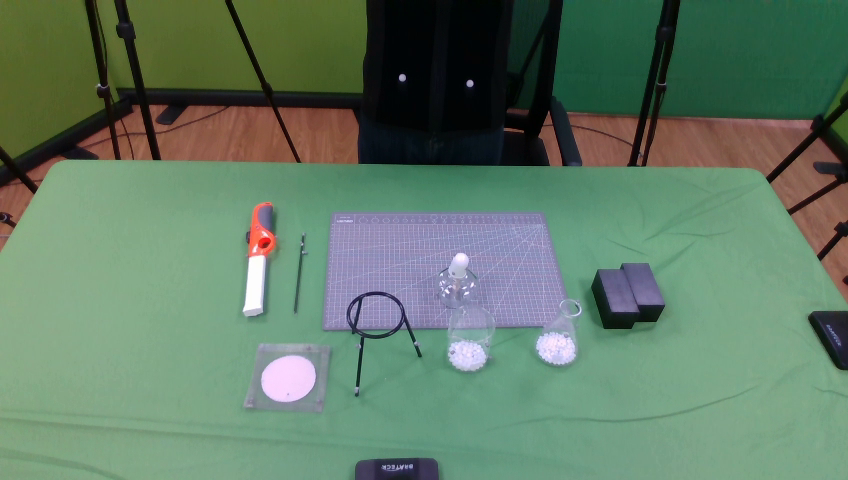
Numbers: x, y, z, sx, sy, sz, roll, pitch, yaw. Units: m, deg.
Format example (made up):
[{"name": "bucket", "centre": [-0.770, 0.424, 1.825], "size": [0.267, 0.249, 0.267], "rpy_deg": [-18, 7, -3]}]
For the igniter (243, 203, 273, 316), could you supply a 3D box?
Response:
[{"name": "igniter", "centre": [-0.315, 0.027, 1.145], "size": [0.057, 0.025, 0.274], "rpy_deg": [-10, 47, 0]}]

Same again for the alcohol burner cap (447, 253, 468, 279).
[{"name": "alcohol burner cap", "centre": [0.060, 0.043, 1.046], "size": [0.034, 0.048, 0.033], "rpy_deg": [5, 50, -6]}]

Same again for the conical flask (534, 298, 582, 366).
[{"name": "conical flask", "centre": [0.229, 0.149, 1.005], "size": [0.075, 0.122, 0.075], "rpy_deg": [2, 46, -2]}]

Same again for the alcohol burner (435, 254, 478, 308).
[{"name": "alcohol burner", "centre": [0.058, 0.066, 1.073], "size": [0.078, 0.120, 0.077], "rpy_deg": [1, 48, -1]}]

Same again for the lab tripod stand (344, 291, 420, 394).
[{"name": "lab tripod stand", "centre": [-0.075, 0.155, 0.967], "size": [0.148, 0.132, 0.147], "rpy_deg": [3, 44, -3]}]

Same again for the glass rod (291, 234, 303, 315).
[{"name": "glass rod", "centre": [-0.237, 0.059, 1.134], "size": [0.008, 0.008, 0.198], "rpy_deg": [-1, 46, -4]}]

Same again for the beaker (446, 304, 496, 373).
[{"name": "beaker", "centre": [0.072, 0.166, 0.992], "size": [0.084, 0.101, 0.073], "rpy_deg": [-21, 51, -22]}]

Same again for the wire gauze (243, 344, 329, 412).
[{"name": "wire gauze", "centre": [-0.221, 0.219, 0.981], "size": [0.125, 0.011, 0.120], "rpy_deg": [2, 45, 0]}]
